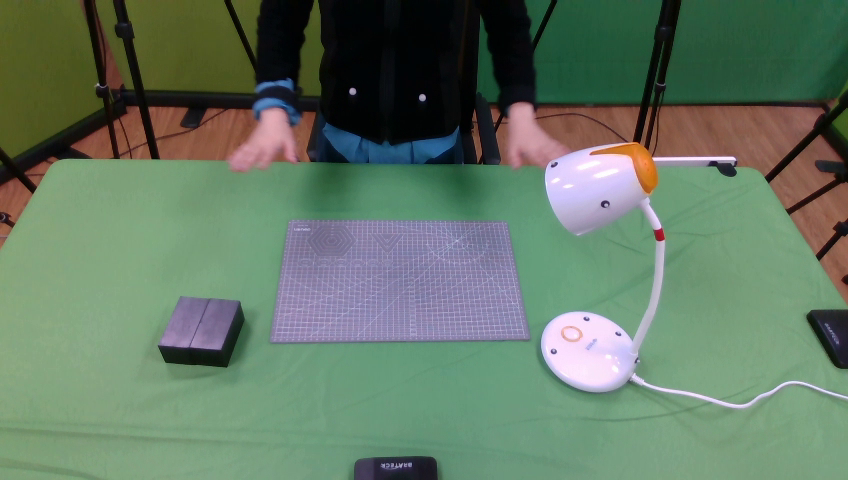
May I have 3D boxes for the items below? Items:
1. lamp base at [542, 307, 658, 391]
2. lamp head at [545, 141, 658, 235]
[{"bbox_3d":[0.296,0.138,0.975,0.178,0.181,0.160,28,51,18],"label":"lamp base"},{"bbox_3d":[0.237,-0.072,0.784,0.123,0.113,0.112,-16,33,37],"label":"lamp head"}]
